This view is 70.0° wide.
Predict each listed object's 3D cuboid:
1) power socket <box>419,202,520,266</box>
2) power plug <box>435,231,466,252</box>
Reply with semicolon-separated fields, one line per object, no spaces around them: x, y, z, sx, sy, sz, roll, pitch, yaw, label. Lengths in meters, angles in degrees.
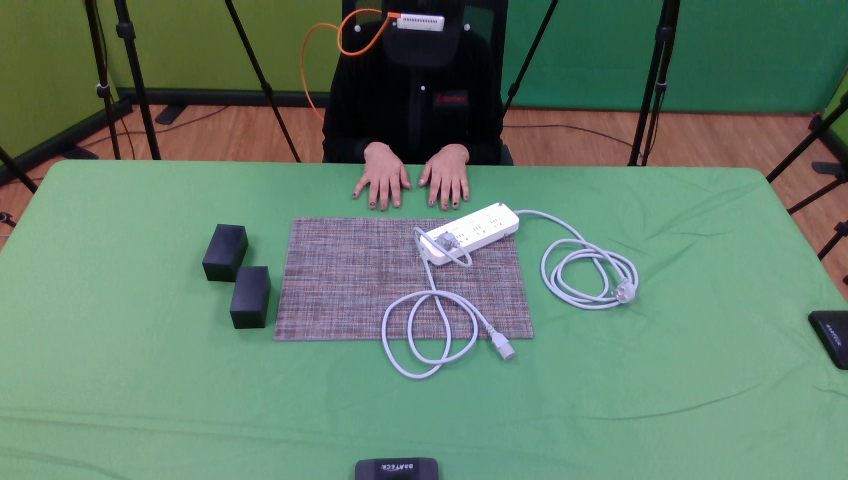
0.093;-0.014;1.204;0.227;0.033;0.072;-22;52;-24;power socket
0.047;0.015;1.142;0.035;0.053;0.072;-13;47;-17;power plug
